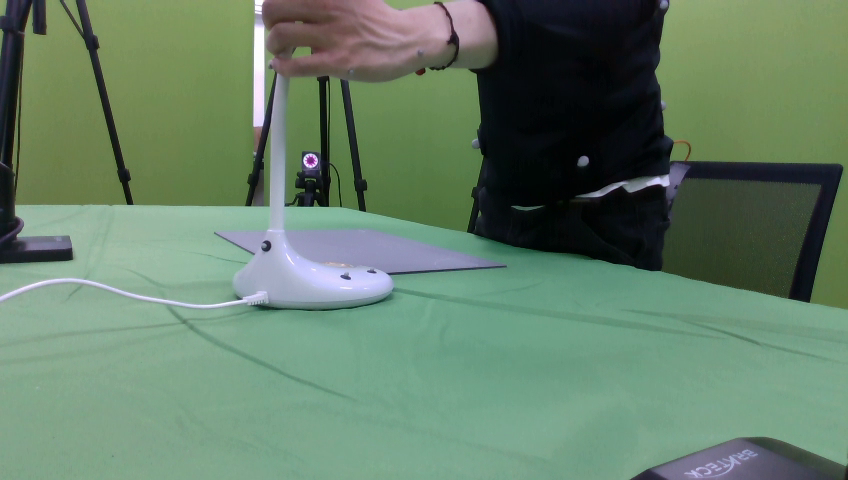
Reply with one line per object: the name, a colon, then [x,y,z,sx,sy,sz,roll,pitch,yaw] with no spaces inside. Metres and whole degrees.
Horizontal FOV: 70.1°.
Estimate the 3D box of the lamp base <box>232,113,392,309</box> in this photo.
lamp base: [-0.113,-0.031,0.594,0.160,0.180,0.179,4,10,18]
